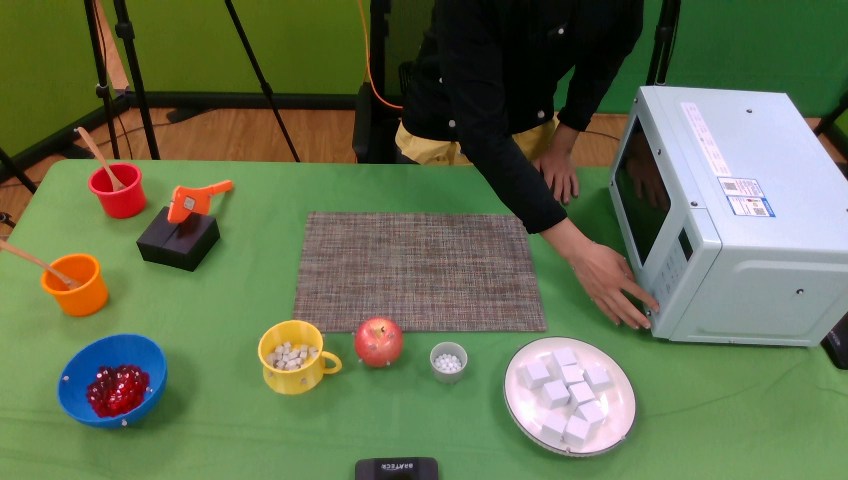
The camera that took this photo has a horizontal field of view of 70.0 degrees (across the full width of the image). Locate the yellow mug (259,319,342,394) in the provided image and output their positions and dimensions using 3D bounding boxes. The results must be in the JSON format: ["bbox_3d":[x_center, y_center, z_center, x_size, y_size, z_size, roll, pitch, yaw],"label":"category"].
[{"bbox_3d":[-0.195,0.189,0.971,0.131,0.064,0.099,9,46,4],"label":"yellow mug"}]

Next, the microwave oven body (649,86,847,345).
[{"bbox_3d":[0.568,-0.053,1.119,0.326,0.261,0.439,2,45,-1],"label":"microwave oven body"}]

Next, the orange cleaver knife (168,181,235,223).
[{"bbox_3d":[-0.435,-0.077,1.196,0.012,0.077,0.211,16,15,10],"label":"orange cleaver knife"}]

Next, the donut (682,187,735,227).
[{"bbox_3d":[0.554,-0.066,1.183,0.099,0.048,0.098,3,44,-3],"label":"donut"}]

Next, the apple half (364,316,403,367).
[{"bbox_3d":[-0.063,0.165,0.999,0.053,0.075,0.080,-16,45,-24],"label":"apple half"}]

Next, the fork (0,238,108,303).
[{"bbox_3d":[-0.632,0.048,1.018,0.208,0.018,0.028,40,43,-27],"label":"fork"}]

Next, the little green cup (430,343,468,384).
[{"bbox_3d":[0.039,0.204,0.993,0.061,0.039,0.061,2,46,-2],"label":"little green cup"}]

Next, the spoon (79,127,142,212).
[{"bbox_3d":[-0.624,-0.140,1.203,0.041,0.021,0.194,-33,100,-25],"label":"spoon"}]

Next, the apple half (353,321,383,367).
[{"bbox_3d":[-0.097,0.177,0.984,0.033,0.081,0.081,-16,49,-24],"label":"apple half"}]

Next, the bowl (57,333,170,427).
[{"bbox_3d":[-0.455,0.223,0.912,0.151,0.077,0.150,3,45,-2],"label":"bowl"}]

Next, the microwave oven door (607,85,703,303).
[{"bbox_3d":[0.424,-0.094,1.141,0.039,0.245,0.353,2,46,-1],"label":"microwave oven door"}]

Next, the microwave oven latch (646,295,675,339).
[{"bbox_3d":[0.413,0.134,1.061,0.030,0.029,0.078,4,45,1],"label":"microwave oven latch"}]

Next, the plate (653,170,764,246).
[{"bbox_3d":[0.556,-0.059,1.196,0.209,0.038,0.208,2,46,-2],"label":"plate"}]

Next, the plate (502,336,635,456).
[{"bbox_3d":[0.226,0.248,0.963,0.208,0.039,0.206,2,46,-2],"label":"plate"}]
